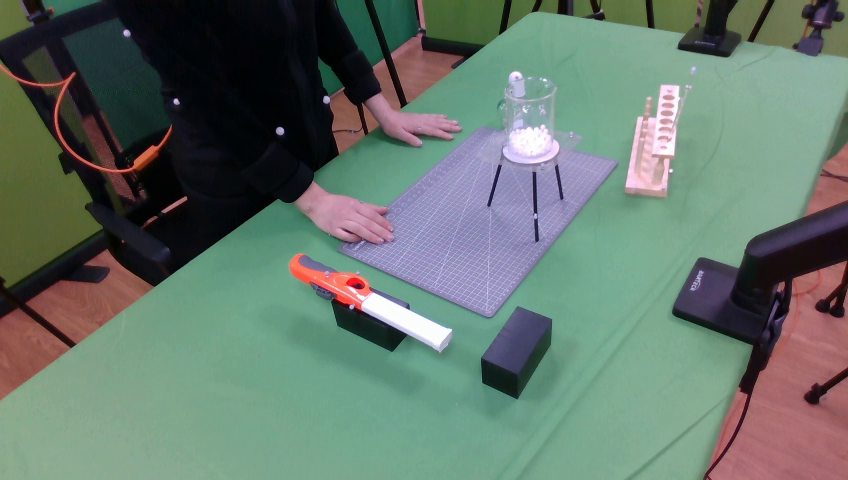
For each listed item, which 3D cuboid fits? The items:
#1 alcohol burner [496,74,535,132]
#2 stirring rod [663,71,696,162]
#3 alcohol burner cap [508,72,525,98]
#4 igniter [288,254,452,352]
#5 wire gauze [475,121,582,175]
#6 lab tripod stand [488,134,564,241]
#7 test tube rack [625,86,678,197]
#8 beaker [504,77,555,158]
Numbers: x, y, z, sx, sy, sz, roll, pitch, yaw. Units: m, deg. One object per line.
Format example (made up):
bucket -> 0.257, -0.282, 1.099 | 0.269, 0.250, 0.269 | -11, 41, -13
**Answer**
alcohol burner -> 0.183, -0.278, 1.210 | 0.078, 0.119, 0.077 | -3, 42, 4
stirring rod -> 0.410, -0.195, 0.981 | 0.014, 0.177, 0.006 | 12, 50, 14
alcohol burner cap -> 0.181, -0.306, 1.186 | 0.034, 0.048, 0.033 | -7, 39, 6
igniter -> -0.083, 0.079, 0.818 | 0.274, 0.025, 0.057 | 23, 46, 27
wire gauze -> 0.162, -0.142, 0.929 | 0.120, 0.011, 0.125 | 19, 49, 32
lab tripod stand -> 0.168, -0.092, 0.972 | 0.148, 0.132, 0.147 | -5, 41, 5
test tube rack -> 0.412, -0.184, 1.088 | 0.066, 0.085, 0.242 | 9, 43, 18
beaker -> 0.160, -0.181, 0.900 | 0.084, 0.101, 0.073 | -33, 46, -27
